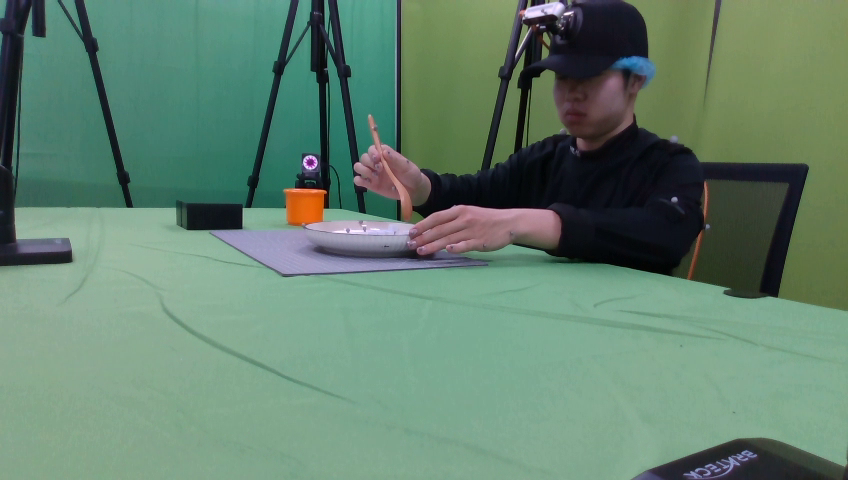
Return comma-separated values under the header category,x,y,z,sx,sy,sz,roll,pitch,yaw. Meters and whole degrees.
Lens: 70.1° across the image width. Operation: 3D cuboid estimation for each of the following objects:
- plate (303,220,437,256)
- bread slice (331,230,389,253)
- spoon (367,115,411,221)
category,x,y,z,sx,sy,sz,roll,pitch,yaw
plate,-0.084,-0.003,0.951,0.209,0.038,0.209,3,7,0
bread slice,-0.088,0.000,0.947,0.105,0.019,0.131,-4,11,-45
spoon,-0.058,-0.117,0.950,0.021,0.193,0.042,-29,-18,10
